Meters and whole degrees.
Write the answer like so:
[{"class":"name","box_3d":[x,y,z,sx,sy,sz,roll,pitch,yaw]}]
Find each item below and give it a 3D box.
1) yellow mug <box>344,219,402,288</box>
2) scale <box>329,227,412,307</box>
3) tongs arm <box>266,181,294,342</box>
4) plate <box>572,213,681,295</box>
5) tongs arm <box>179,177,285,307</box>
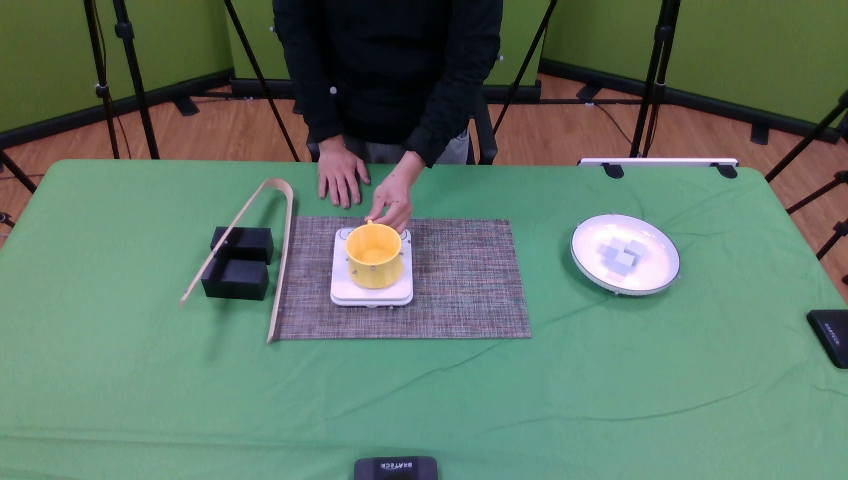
[{"class":"yellow mug","box_3d":[-0.092,0.016,1.088,0.100,0.064,0.130,-8,47,-7]},{"class":"scale","box_3d":[-0.099,0.042,1.139,0.149,0.032,0.199,1,46,-4]},{"class":"tongs arm","box_3d":[-0.273,0.027,1.144,0.028,0.028,0.385,17,42,-22]},{"class":"plate","box_3d":[0.393,0.030,1.189,0.208,0.039,0.206,2,46,-2]},{"class":"tongs arm","box_3d":[-0.342,-0.008,1.117,0.051,0.026,0.382,29,38,-14]}]
